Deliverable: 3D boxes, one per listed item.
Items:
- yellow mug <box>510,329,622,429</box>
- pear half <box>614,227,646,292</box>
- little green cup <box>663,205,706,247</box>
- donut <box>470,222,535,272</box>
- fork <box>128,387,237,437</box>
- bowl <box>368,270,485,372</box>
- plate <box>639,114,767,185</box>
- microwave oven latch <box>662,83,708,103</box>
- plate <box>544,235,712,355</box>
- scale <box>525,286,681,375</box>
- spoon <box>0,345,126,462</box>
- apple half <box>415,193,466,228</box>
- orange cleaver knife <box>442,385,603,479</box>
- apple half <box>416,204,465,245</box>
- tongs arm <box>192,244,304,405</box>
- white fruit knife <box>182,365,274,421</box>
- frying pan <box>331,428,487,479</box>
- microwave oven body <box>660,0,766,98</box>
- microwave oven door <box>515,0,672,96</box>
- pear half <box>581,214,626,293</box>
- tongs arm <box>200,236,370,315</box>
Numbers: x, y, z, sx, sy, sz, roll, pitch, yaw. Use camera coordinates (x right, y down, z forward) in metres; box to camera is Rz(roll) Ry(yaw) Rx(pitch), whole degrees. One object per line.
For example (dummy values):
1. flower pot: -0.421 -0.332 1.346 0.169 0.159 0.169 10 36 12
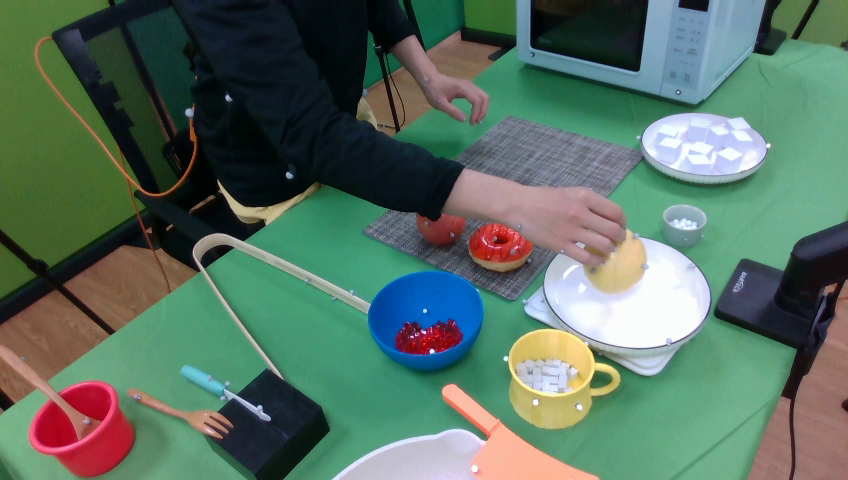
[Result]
1. yellow mug: 0.169 0.164 0.721 0.130 0.064 0.099 0 40 8
2. pear half: 0.257 0.025 0.742 0.031 0.088 0.070 12 40 23
3. little green cup: 0.396 -0.020 0.926 0.061 0.039 0.061 -4 40 4
4. donut: 0.119 0.009 0.923 0.099 0.048 0.098 -3 38 3
5. fork: -0.305 0.207 0.744 0.206 0.019 0.028 3 40 35
6. bowl: 0.007 0.119 0.791 0.151 0.077 0.150 -5 40 4
7. plate: 0.489 -0.157 1.074 0.207 0.039 0.206 -4 40 4
8. microwave oven latch: 0.518 -0.296 1.204 0.078 0.029 0.030 28 53 36
9. plate: 0.262 0.072 0.792 0.209 0.038 0.208 -4 41 4
10. scale: 0.254 0.091 0.821 0.199 0.032 0.149 27 51 35
11. spoon: -0.434 0.192 0.720 0.194 0.021 0.042 47 53 -6
12. apple half: 0.028 -0.042 0.974 0.081 0.075 0.053 -5 37 7
13. orange cleaver knife: 0.086 0.219 0.612 0.209 0.012 0.077 28 49 35
14. apple half: 0.027 -0.018 0.943 0.081 0.081 0.032 -4 36 4
15. tongs arm: -0.268 0.111 0.884 0.028 0.028 0.384 -36 47 -18
16. white fruit knife: -0.245 0.188 0.747 0.205 0.027 0.016 9 41 41
17. frying pan: -0.089 0.306 0.564 0.487 0.103 0.306 9 41 7
18. microwave oven body: 0.472 -0.513 1.317 0.438 0.261 0.327 26 51 34
19. microwave oven door: 0.343 -0.455 1.259 0.353 0.245 0.039 26 51 33
20. pear half: 0.224 0.009 0.751 0.055 0.110 0.076 12 39 24
21. tongs arm: -0.209 0.063 0.924 0.381 0.027 0.051 23 54 32
